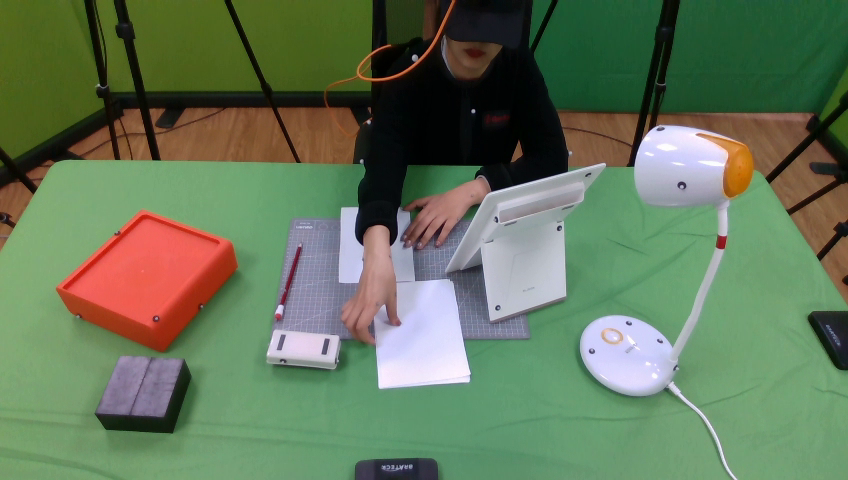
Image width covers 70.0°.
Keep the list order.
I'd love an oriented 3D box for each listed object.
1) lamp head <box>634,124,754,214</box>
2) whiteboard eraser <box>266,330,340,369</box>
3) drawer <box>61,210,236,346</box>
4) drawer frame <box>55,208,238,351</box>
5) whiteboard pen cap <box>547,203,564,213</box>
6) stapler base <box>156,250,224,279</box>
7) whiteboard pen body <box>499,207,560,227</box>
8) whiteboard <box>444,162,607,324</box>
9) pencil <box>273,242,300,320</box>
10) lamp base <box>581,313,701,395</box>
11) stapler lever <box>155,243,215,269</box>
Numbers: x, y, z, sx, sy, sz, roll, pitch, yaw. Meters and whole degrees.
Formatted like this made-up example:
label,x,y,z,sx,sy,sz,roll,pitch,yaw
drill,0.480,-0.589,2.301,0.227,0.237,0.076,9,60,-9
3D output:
label,x,y,z,sx,sy,sz,roll,pitch,yaw
lamp head,0.351,-0.089,0.776,0.112,0.113,0.122,-30,30,-28
whiteboard eraser,-0.198,0.181,0.994,0.113,0.042,0.055,5,45,1
drawer,-0.474,0.061,1.063,0.194,0.073,0.211,19,48,13
drawer frame,-0.474,0.062,1.059,0.201,0.083,0.213,18,48,12
whiteboard pen cap,0.277,-0.066,1.275,0.033,0.018,0.018,-18,50,-15
stapler base,-0.431,0.040,1.110,0.130,0.024,0.041,11,38,17
whiteboard pen body,0.222,-0.051,1.260,0.141,0.017,0.017,-15,49,-16
whiteboard,0.186,0.025,1.029,0.217,0.306,0.143,-15,68,-18
pencil,-0.250,0.071,1.115,0.012,0.012,0.193,5,43,1
lamp base,0.361,0.144,0.973,0.178,0.181,0.160,34,53,23
stapler lever,-0.433,0.023,1.097,0.118,0.040,0.026,14,39,14
